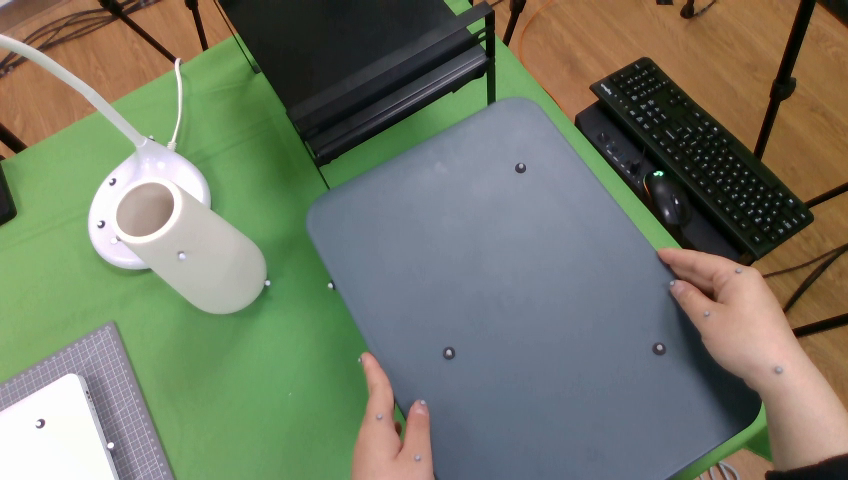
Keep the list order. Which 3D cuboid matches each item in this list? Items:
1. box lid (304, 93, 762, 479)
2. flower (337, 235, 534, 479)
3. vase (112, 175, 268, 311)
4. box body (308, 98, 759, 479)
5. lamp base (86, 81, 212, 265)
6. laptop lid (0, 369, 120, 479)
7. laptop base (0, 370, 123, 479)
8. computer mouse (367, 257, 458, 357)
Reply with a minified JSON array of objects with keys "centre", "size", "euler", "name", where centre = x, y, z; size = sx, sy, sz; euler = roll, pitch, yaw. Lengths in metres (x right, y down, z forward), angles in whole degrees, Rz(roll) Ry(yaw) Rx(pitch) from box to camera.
[{"centre":[0.076,0.047,0.530],"size":[0.263,0.015,0.368],"euler":[-29,68,-7],"name":"box lid"},{"centre":[0.026,0.139,0.628],"size":[0.360,0.038,0.044],"euler":[52,38,13],"name":"flower"},{"centre":[-0.243,0.007,0.647],"size":[0.098,0.201,0.097],"euler":[-3,66,8],"name":"vase"},{"centre":[0.086,0.079,0.600],"size":[0.254,0.161,0.361],"euler":[-30,67,-6],"name":"box body"},{"centre":[-0.357,-0.084,0.708],"size":[0.160,0.182,0.178],"euler":[1,65,7],"name":"lamp base"},{"centre":[-0.486,0.322,0.629],"size":[0.357,0.013,0.240],"euler":[-29,70,-6],"name":"laptop lid"},{"centre":[-0.486,0.324,0.641],"size":[0.354,0.023,0.233],"euler":[-30,71,-7],"name":"laptop base"},{"centre":[-0.016,0.071,0.675],"size":[0.063,0.041,0.116],"euler":[-36,60,-4],"name":"computer mouse"}]
